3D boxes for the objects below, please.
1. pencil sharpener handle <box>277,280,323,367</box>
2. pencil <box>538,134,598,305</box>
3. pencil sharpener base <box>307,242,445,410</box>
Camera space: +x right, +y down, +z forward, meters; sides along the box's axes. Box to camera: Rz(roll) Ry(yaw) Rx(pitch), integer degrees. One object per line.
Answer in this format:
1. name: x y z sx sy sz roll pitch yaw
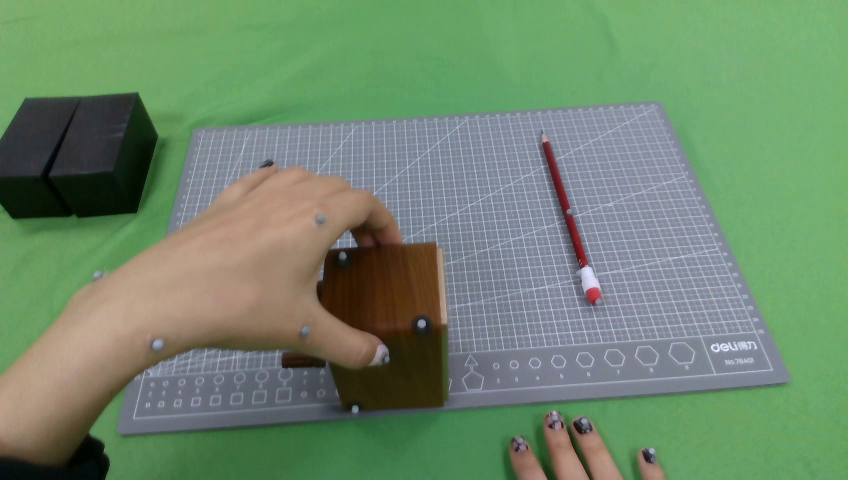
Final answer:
1. pencil sharpener handle: -0.078 0.054 0.364 0.030 0.068 0.035 -3 41 0
2. pencil: 0.115 -0.027 0.505 0.012 0.012 0.192 -4 49 -2
3. pencil sharpener base: -0.026 0.057 0.377 0.077 0.108 0.061 -3 52 0
